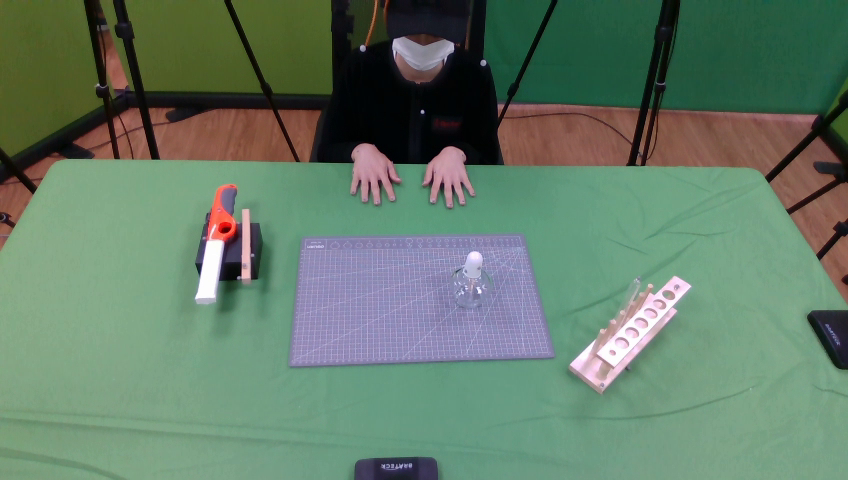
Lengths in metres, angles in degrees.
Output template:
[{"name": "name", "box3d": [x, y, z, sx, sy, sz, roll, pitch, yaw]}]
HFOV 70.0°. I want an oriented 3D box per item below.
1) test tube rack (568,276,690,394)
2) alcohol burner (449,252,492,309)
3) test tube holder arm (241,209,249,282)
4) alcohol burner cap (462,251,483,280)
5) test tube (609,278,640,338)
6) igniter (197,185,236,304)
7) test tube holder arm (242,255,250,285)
[{"name": "test tube rack", "box3d": [0.353, 0.149, 1.039, 0.242, 0.085, 0.066, -34, 56, -31]}, {"name": "alcohol burner", "box3d": [0.084, 0.066, 1.074, 0.078, 0.120, 0.077, 1, 44, -1]}, {"name": "test tube holder arm", "box3d": [-0.324, 0.006, 1.096, 0.015, 0.013, 0.177, -2, 48, -14]}, {"name": "alcohol burner cap", "box3d": [0.085, 0.041, 1.048, 0.034, 0.048, 0.033, 4, 41, -3]}, {"name": "test tube", "box3d": [0.331, 0.115, 1.007, 0.017, 0.151, 0.017, 2, 45, -2]}, {"name": "igniter", "box3d": [-0.376, -0.002, 1.101, 0.057, 0.025, 0.274, -1, 49, -7]}, {"name": "test tube holder arm", "box3d": [-0.316, 0.043, 1.071, 0.015, 0.010, 0.087, -2, 48, -14]}]
